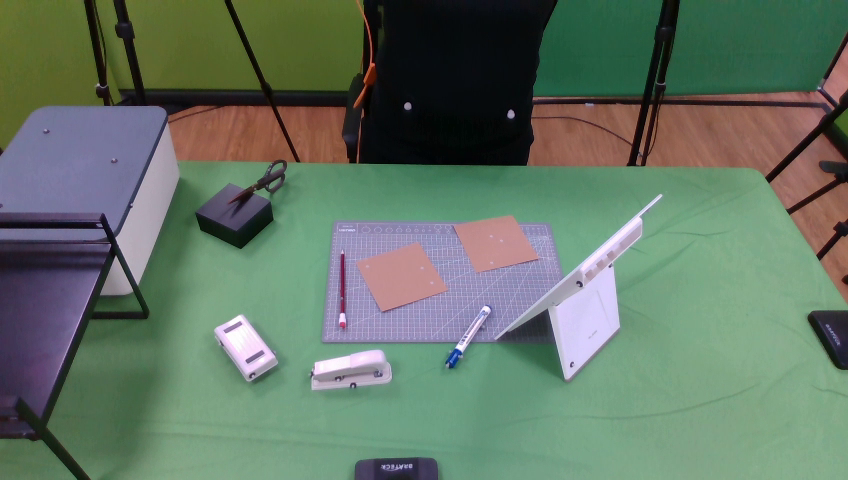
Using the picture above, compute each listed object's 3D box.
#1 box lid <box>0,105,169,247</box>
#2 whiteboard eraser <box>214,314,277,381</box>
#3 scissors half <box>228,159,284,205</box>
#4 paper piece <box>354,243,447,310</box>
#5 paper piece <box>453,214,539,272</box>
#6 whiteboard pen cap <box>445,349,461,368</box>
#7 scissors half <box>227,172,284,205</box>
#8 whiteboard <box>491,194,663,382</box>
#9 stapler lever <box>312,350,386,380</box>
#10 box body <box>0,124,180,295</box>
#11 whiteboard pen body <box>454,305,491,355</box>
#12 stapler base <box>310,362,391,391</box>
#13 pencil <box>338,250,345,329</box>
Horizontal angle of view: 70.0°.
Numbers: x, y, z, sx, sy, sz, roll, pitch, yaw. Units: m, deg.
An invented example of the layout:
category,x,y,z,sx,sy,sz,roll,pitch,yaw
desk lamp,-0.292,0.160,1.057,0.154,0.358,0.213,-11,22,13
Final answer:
category,x,y,z,sx,sy,sz,roll,pitch,yaw
box lid,-0.624,-0.125,1.067,0.263,0.015,0.369,0,46,-3
whiteboard eraser,-0.292,0.176,0.990,0.055,0.042,0.112,-30,55,-31
scissors half,-0.337,-0.117,1.218,0.013,0.040,0.174,22,45,15
paper piece,-0.045,0.066,1.137,0.136,0.009,0.137,-13,47,-22
paper piece,0.142,0.003,1.213,0.135,0.004,0.135,-11,47,-14
whiteboard pen cap,0.049,0.197,1.011,0.018,0.018,0.033,24,49,18
scissors half,-0.339,-0.101,1.230,0.013,0.040,0.175,18,28,19
whiteboard,0.280,0.100,0.969,0.217,0.306,0.143,-33,77,-31
stapler lever,-0.120,0.198,0.963,0.118,0.040,0.026,-4,44,-8
box body,-0.628,-0.075,1.122,0.254,0.161,0.361,1,46,-4
whiteboard pen body,0.079,0.163,1.047,0.017,0.017,0.140,25,50,19
stapler base,-0.119,0.215,0.981,0.131,0.024,0.041,-5,44,-7
pencil,-0.152,0.085,1.108,0.012,0.012,0.192,-2,44,-7
